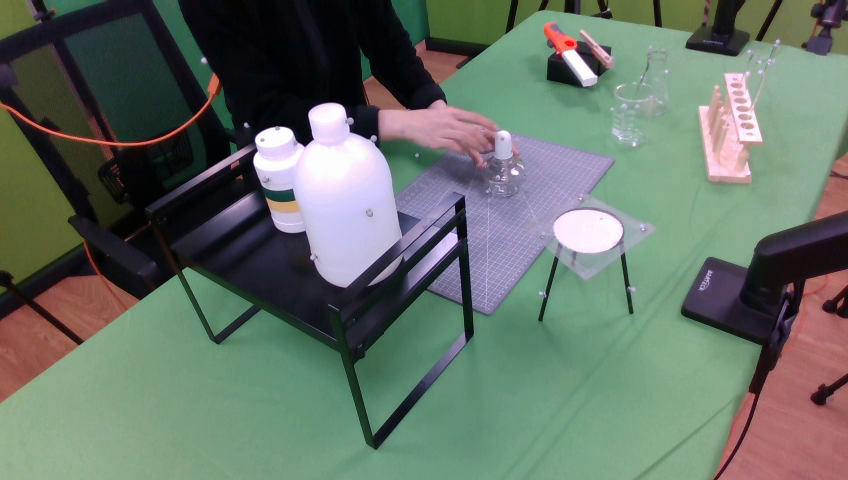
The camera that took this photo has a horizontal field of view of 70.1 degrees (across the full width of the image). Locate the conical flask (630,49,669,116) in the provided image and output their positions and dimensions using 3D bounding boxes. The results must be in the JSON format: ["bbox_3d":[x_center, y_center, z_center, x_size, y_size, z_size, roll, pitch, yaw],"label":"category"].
[{"bbox_3d":[0.457,-0.317,1.205,0.075,0.122,0.075,-4,41,4],"label":"conical flask"}]

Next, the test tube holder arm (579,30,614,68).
[{"bbox_3d":[0.384,-0.428,1.351,0.013,0.015,0.177,-11,41,-3],"label":"test tube holder arm"}]

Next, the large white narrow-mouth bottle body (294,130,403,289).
[{"bbox_3d":[-0.082,-0.047,0.634,0.102,0.195,0.101,-4,40,4],"label":"large white narrow-mouth bottle body"}]

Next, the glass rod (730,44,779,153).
[{"bbox_3d":[0.555,-0.233,1.020,0.008,0.200,0.008,2,39,-1],"label":"glass rod"}]

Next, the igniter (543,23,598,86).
[{"bbox_3d":[0.320,-0.419,1.345,0.057,0.025,0.274,-12,44,-3],"label":"igniter"}]

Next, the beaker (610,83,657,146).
[{"bbox_3d":[0.388,-0.235,1.138,0.074,0.101,0.083,-31,45,-26],"label":"beaker"}]

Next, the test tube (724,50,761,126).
[{"bbox_3d":[0.570,-0.269,1.085,0.017,0.151,0.017,-1,46,1],"label":"test tube"}]

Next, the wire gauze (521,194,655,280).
[{"bbox_3d":[0.207,-0.012,0.772,0.122,0.011,0.124,-28,44,-20],"label":"wire gauze"}]

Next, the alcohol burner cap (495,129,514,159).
[{"bbox_3d":[0.135,-0.163,1.018,0.034,0.048,0.033,-4,42,4],"label":"alcohol burner cap"}]

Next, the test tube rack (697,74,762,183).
[{"bbox_3d":[0.547,-0.208,1.095,0.066,0.085,0.242,5,42,15],"label":"test tube rack"}]

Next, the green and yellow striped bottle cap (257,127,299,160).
[{"bbox_3d":[-0.169,-0.112,0.698,0.045,0.020,0.045,-5,40,5],"label":"green and yellow striped bottle cap"}]

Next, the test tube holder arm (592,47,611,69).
[{"bbox_3d":[0.386,-0.398,1.317,0.010,0.015,0.087,-11,41,-2],"label":"test tube holder arm"}]

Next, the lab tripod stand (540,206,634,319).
[{"bbox_3d":[0.218,0.034,0.821,0.148,0.132,0.147,-4,42,4],"label":"lab tripod stand"}]

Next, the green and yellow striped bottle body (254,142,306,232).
[{"bbox_3d":[-0.165,-0.073,0.732,0.063,0.120,0.063,-4,41,4],"label":"green and yellow striped bottle body"}]

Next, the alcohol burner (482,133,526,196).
[{"bbox_3d":[0.138,-0.136,1.042,0.078,0.119,0.077,-4,43,4],"label":"alcohol burner"}]

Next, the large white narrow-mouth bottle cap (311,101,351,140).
[{"bbox_3d":[-0.089,-0.114,0.578,0.038,0.024,0.037,-3,40,3],"label":"large white narrow-mouth bottle cap"}]
